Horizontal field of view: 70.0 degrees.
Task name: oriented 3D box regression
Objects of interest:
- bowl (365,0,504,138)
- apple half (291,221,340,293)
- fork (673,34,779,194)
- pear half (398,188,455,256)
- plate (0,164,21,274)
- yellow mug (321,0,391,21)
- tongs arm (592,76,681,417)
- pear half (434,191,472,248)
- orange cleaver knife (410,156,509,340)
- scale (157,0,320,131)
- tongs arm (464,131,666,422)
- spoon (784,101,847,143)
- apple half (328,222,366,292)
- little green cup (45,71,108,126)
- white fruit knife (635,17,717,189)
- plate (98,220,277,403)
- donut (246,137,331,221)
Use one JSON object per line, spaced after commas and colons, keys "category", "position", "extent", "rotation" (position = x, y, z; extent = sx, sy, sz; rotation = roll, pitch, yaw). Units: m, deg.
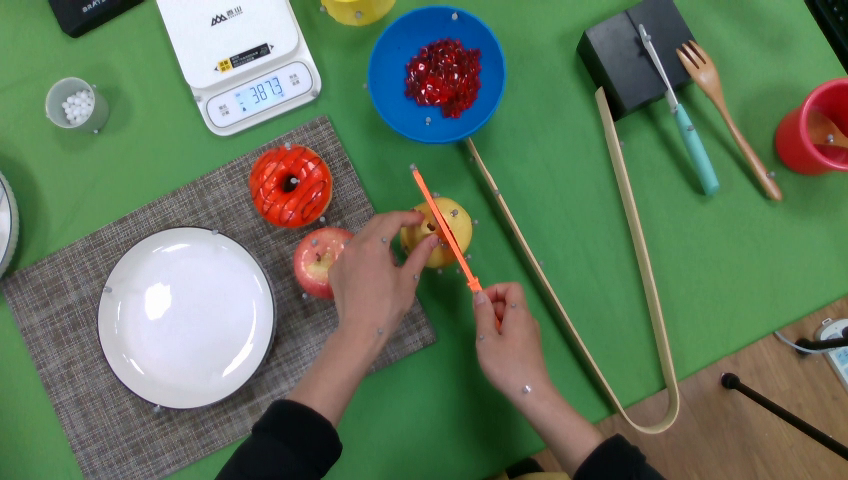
{"category": "bowl", "position": [0.014, -0.182, 0.684], "extent": [0.151, 0.077, 0.151], "rotation": [0, 88, 4]}
{"category": "apple half", "position": [-0.119, 0.017, 0.680], "extent": [0.053, 0.075, 0.081], "rotation": [7, 90, 8]}
{"category": "fork", "position": [0.337, -0.136, 0.667], "extent": [0.028, 0.018, 0.208], "rotation": [-36, 101, -1]}
{"category": "pear half", "position": [-0.002, -0.014, 0.654], "extent": [0.056, 0.110, 0.076], "rotation": [-43, 75, 13]}
{"category": "plate", "position": [-0.584, -0.022, 0.733], "extent": [0.207, 0.039, 0.207], "rotation": [0, 87, 4]}
{"category": "yellow mug", "position": [-0.098, -0.325, 0.704], "extent": [0.130, 0.064, 0.100], "rotation": [31, 90, 6]}
{"category": "tongs arm", "position": [0.237, 0.004, 0.685], "extent": [0.028, 0.028, 0.387], "rotation": [-12, 87, -4]}
{"category": "pear half", "position": [0.035, -0.028, 0.670], "extent": [0.031, 0.088, 0.070], "rotation": [-34, 81, -3]}
{"category": "orange cleaver knife", "position": [0.035, 0.006, 0.635], "extent": [0.012, 0.077, 0.212], "rotation": [-27, 96, 5]}
{"category": "scale", "position": [-0.224, -0.246, 0.725], "extent": [0.148, 0.031, 0.200], "rotation": [-22, 86, 3]}
{"category": "tongs arm", "position": [0.157, 0.036, 0.685], "extent": [0.051, 0.026, 0.384], "rotation": [-27, 87, -2]}
{"category": "spoon", "position": [0.450, -0.093, 0.618], "extent": [0.041, 0.022, 0.191], "rotation": [-32, 41, 1]}
{"category": "apple half", "position": [-0.080, 0.021, 0.676], "extent": [0.033, 0.081, 0.081], "rotation": [6, 87, 8]}
{"category": "little green cup", "position": [-0.416, -0.167, 0.730], "extent": [0.061, 0.039, 0.061], "rotation": [0, 87, 4]}
{"category": "white fruit knife", "position": [0.275, -0.148, 0.664], "extent": [0.016, 0.027, 0.208], "rotation": [-29, 100, 1]}
{"category": "plate", "position": [-0.269, 0.081, 0.704], "extent": [0.209, 0.038, 0.208], "rotation": [0, 87, 4]}
{"category": "donut", "position": [-0.157, -0.071, 0.701], "extent": [0.099, 0.048, 0.099], "rotation": [0, 88, 5]}
